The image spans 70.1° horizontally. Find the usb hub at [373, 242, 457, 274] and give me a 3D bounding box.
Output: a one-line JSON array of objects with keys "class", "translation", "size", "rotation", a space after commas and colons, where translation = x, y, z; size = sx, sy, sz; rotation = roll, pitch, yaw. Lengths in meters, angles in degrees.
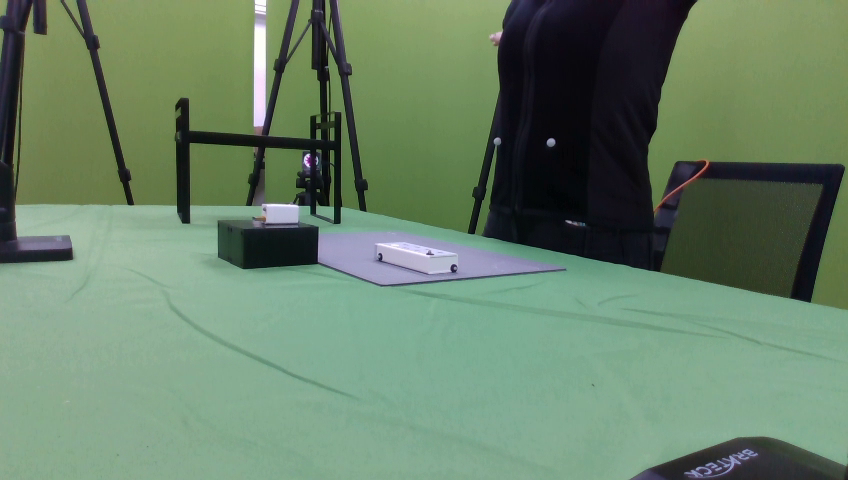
[{"class": "usb hub", "translation": [-0.014, 0.021, 0.799], "size": [0.050, 0.025, 0.124], "rotation": [-4, 9, -37]}]

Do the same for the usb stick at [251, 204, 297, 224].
[{"class": "usb stick", "translation": [-0.200, -0.035, 0.805], "size": [0.059, 0.027, 0.021], "rotation": [-6, 13, -34]}]
